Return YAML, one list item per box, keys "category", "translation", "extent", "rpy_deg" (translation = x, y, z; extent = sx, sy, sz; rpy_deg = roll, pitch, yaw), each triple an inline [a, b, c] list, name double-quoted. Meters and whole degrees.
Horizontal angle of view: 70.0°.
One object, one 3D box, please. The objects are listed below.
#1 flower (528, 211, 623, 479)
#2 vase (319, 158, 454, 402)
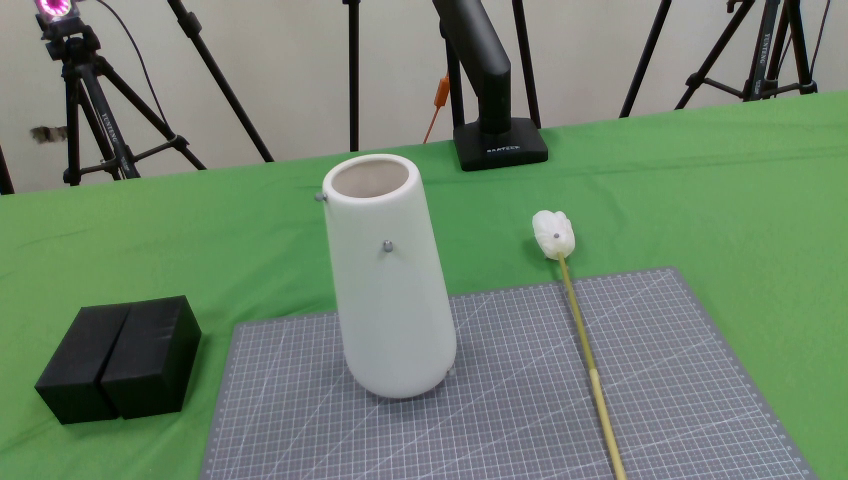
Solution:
- category: "flower"
  translation: [0.141, 0.093, 0.545]
  extent: [0.044, 0.038, 0.358]
  rpy_deg: [23, 36, -21]
- category: "vase"
  translation: [-0.031, 0.037, 0.486]
  extent: [0.098, 0.202, 0.097]
  rpy_deg: [-5, 35, 4]
